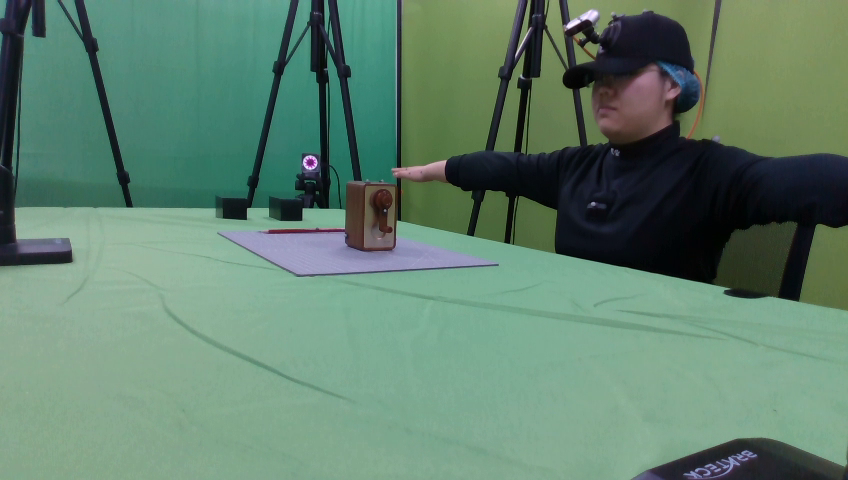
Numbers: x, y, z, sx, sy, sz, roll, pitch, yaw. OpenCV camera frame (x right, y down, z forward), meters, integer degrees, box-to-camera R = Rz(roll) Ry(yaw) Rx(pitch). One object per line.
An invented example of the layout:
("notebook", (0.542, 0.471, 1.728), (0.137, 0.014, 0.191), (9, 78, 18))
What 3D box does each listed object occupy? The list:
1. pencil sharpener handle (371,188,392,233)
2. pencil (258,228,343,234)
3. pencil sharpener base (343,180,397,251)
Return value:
("pencil sharpener handle", (-0.058, -0.044, 0.913), (0.036, 0.067, 0.030), (-1, 8, -31))
("pencil", (-0.213, -0.017, 1.131), (0.195, 0.012, 0.012), (-2, 8, -26))
("pencil sharpener base", (-0.085, -0.039, 0.958), (0.062, 0.107, 0.076), (-1, 8, -31))
